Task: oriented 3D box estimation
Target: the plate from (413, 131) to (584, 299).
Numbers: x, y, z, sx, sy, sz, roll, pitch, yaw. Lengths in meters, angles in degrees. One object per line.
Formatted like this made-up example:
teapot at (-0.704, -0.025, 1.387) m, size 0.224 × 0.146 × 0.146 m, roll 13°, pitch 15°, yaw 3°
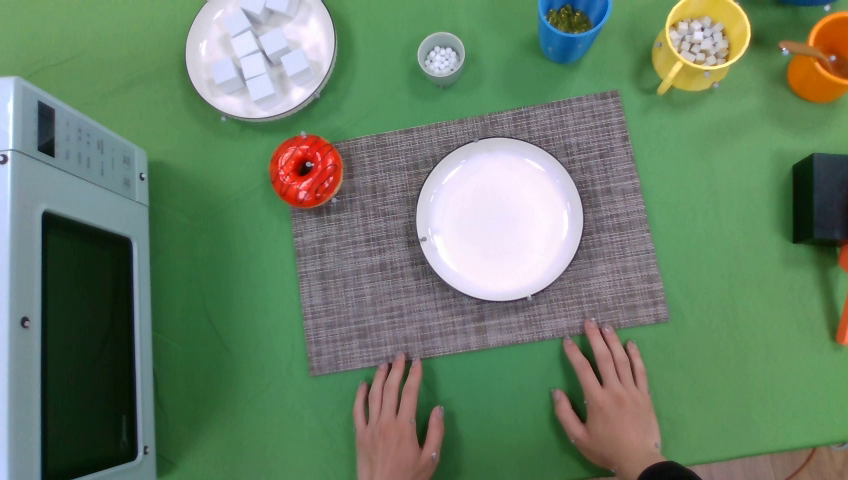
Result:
plate at (0.091, -0.030, 0.754) m, size 0.209 × 0.038 × 0.208 m, roll -1°, pitch 81°, yaw 6°

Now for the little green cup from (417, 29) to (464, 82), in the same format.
little green cup at (0.023, -0.240, 0.797) m, size 0.061 × 0.039 × 0.061 m, roll -1°, pitch 80°, yaw 6°

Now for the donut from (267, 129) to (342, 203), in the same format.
donut at (-0.155, -0.095, 0.785) m, size 0.099 × 0.048 × 0.098 m, roll -1°, pitch 82°, yaw 7°

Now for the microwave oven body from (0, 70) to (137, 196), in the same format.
microwave oven body at (-0.522, 0.082, 0.683) m, size 0.326 × 0.261 × 0.440 m, roll -7°, pitch 81°, yaw 4°

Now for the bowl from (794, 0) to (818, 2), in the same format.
bowl at (0.473, -0.355, 0.750) m, size 0.151 × 0.077 × 0.151 m, roll -1°, pitch 82°, yaw 6°

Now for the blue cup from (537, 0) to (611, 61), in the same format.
blue cup at (0.179, -0.273, 0.755) m, size 0.092 × 0.100 × 0.092 m, roll -1°, pitch 82°, yaw 5°

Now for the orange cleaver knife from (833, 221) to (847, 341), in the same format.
orange cleaver knife at (0.494, 0.012, 0.689) m, size 0.012 × 0.077 × 0.212 m, roll 5°, pitch 111°, yaw 9°

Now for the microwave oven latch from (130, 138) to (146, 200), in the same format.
microwave oven latch at (-0.383, -0.092, 0.794) m, size 0.030 × 0.029 × 0.079 m, roll -5°, pitch 81°, yaw 4°

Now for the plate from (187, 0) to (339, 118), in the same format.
plate at (-0.215, -0.261, 0.823) m, size 0.207 × 0.039 × 0.207 m, roll -1°, pitch 81°, yaw 5°

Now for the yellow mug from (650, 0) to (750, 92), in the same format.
yellow mug at (0.330, -0.237, 0.752) m, size 0.099 × 0.064 × 0.131 m, roll 39°, pitch 88°, yaw 10°

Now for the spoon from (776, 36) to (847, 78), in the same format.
spoon at (0.451, -0.215, 0.695) m, size 0.021 × 0.195 × 0.041 m, roll -23°, pitch 74°, yaw 47°

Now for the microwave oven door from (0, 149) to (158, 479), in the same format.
microwave oven door at (-0.374, 0.106, 0.659) m, size 0.039 × 0.245 × 0.354 m, roll -7°, pitch 80°, yaw 5°
